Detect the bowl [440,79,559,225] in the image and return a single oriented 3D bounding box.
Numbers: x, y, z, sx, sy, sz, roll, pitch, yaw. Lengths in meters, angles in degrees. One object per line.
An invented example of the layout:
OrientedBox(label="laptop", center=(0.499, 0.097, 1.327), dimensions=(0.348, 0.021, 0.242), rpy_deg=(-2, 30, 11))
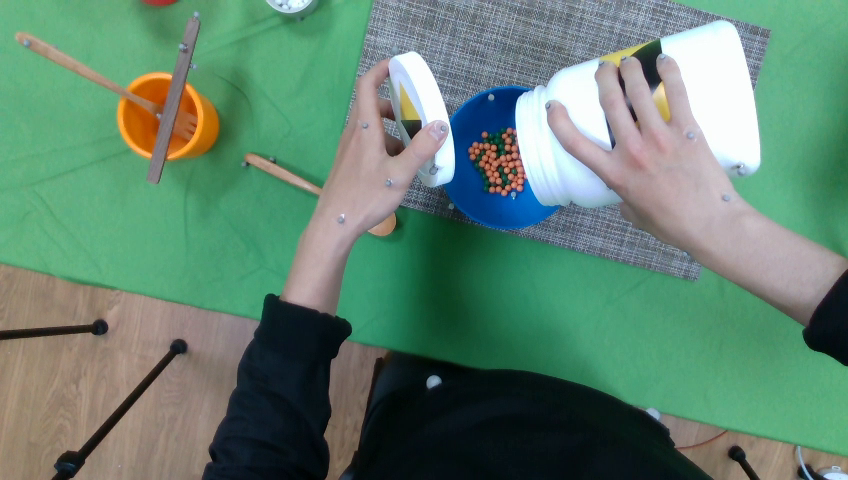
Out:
OrientedBox(label="bowl", center=(0.086, -0.094, 0.670), dimensions=(0.151, 0.076, 0.151), rpy_deg=(0, 96, 0))

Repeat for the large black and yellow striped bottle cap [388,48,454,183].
OrientedBox(label="large black and yellow striped bottle cap", center=(-0.005, -0.105, 0.522), dimensions=(0.019, 0.114, 0.115), rpy_deg=(-19, 95, -13))

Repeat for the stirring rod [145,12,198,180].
OrientedBox(label="stirring rod", center=(-0.261, -0.147, 0.626), dimensions=(0.014, 0.006, 0.176), rpy_deg=(16, 96, -4))

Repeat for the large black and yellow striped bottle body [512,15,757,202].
OrientedBox(label="large black and yellow striped bottle body", center=(0.182, -0.107, 0.537), dimensions=(0.183, 0.131, 0.131), rpy_deg=(-12, 96, 24))

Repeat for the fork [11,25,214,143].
OrientedBox(label="fork", center=(-0.312, -0.157, 0.627), dimensions=(0.209, 0.018, 0.028), rpy_deg=(29, 99, -47))

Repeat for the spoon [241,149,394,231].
OrientedBox(label="spoon", center=(-0.124, -0.063, 0.702), dimensions=(0.194, 0.021, 0.042), rpy_deg=(25, 109, -4))

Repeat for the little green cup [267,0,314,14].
OrientedBox(label="little green cup", center=(-0.149, -0.282, 0.671), dimensions=(0.061, 0.038, 0.061), rpy_deg=(0, 96, 1))
